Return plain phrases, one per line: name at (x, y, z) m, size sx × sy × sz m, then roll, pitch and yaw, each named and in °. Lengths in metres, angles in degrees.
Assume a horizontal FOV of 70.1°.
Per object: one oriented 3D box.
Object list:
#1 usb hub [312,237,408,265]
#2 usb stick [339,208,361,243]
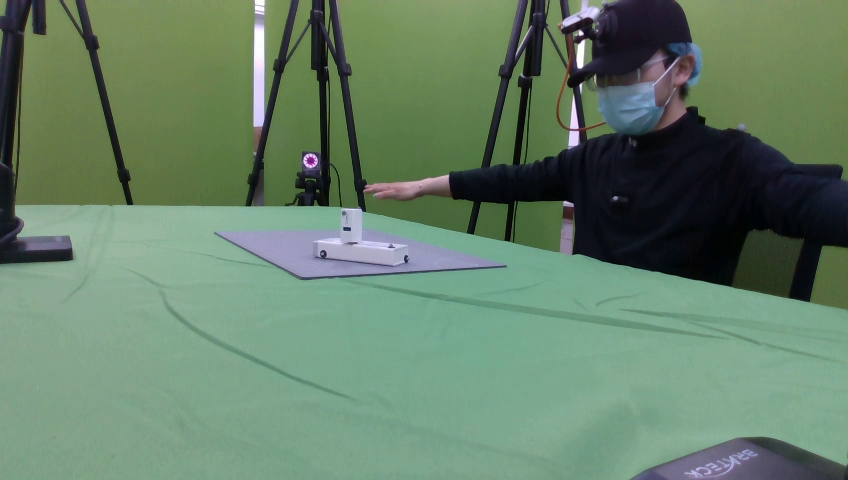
usb hub at (-0.088, 0.014, 0.829) m, size 0.125 × 0.025 × 0.050 m, roll 5°, pitch 8°, yaw 22°
usb stick at (-0.100, -0.013, 0.815) m, size 0.021 × 0.059 × 0.027 m, roll 5°, pitch 10°, yaw 20°
